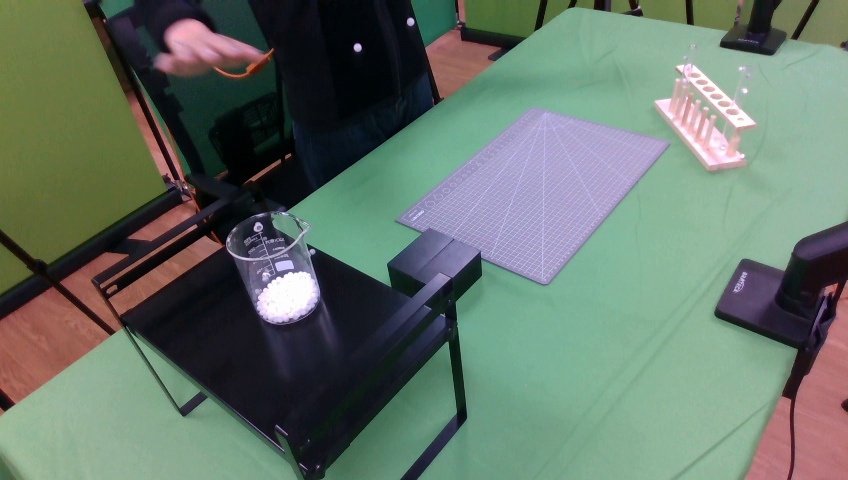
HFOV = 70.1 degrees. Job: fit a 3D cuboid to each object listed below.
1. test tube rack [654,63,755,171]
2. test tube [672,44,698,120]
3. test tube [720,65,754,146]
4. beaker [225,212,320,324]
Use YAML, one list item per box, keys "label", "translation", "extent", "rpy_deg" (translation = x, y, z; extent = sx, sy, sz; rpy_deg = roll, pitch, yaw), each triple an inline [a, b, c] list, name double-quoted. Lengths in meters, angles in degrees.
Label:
- label: "test tube rack"
  translation: [0.510, -0.233, 1.120]
  extent: [0.067, 0.085, 0.241]
  rpy_deg: [-8, 41, -1]
- label: "test tube"
  translation: [0.484, -0.291, 1.122]
  extent: [0.017, 0.151, 0.017]
  rpy_deg: [-2, 41, 2]
- label: "test tube"
  translation: [0.533, -0.226, 1.032]
  extent: [0.017, 0.151, 0.017]
  rpy_deg: [-1, 40, 2]
- label: "beaker"
  translation: [-0.149, 0.031, 0.625]
  extent: [0.084, 0.101, 0.073]
  rpy_deg: [-18, 42, -13]
